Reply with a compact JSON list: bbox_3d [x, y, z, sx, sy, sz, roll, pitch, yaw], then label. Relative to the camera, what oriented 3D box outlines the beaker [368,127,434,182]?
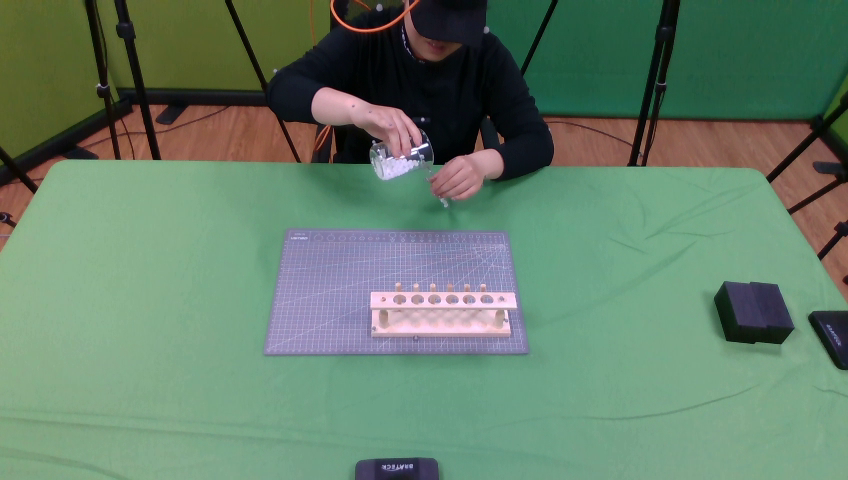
[{"bbox_3d":[-0.044,-0.152,1.105,0.100,0.084,0.073,-22,50,-18],"label":"beaker"}]

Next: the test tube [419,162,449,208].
[{"bbox_3d":[0.023,-0.106,1.207,0.017,0.151,0.017,-10,57,17],"label":"test tube"}]

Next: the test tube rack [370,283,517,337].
[{"bbox_3d":[0.030,0.116,1.041,0.242,0.085,0.066,1,46,-4],"label":"test tube rack"}]
